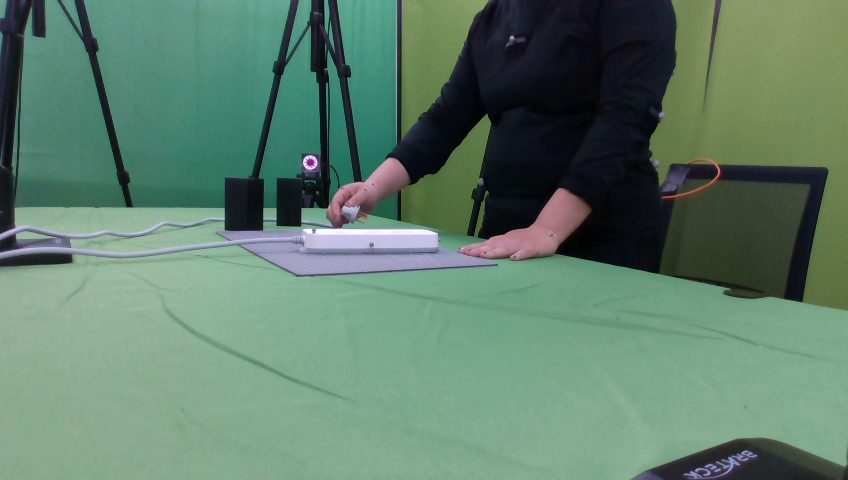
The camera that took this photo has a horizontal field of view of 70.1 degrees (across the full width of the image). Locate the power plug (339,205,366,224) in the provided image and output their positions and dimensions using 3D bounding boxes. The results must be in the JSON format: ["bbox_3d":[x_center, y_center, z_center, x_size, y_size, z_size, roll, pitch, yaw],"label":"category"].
[{"bbox_3d":[-0.131,-0.048,1.125,0.053,0.035,0.072,26,1,-4],"label":"power plug"}]

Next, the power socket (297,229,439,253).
[{"bbox_3d":[-0.084,0.000,0.941,0.228,0.032,0.072,0,7,-20],"label":"power socket"}]
